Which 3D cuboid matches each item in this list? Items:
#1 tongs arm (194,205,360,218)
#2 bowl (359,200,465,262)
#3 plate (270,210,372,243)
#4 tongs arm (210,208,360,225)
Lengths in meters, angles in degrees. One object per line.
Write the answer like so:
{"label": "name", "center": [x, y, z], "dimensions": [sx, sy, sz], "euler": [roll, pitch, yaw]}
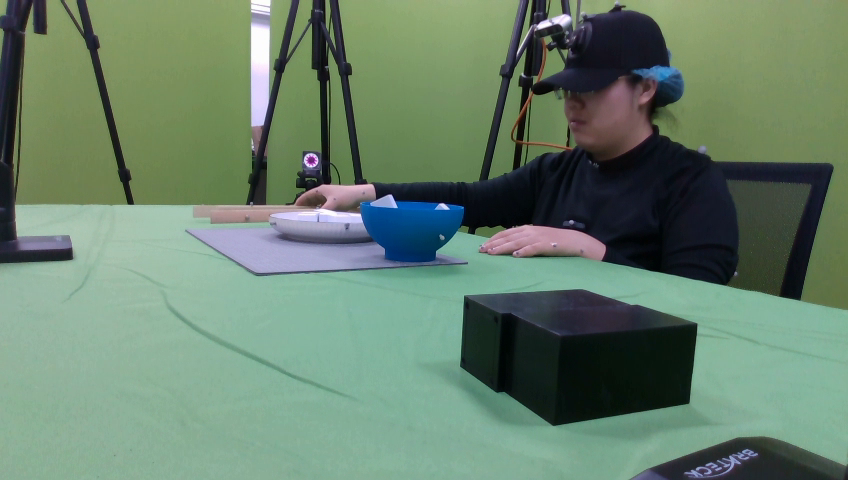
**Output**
{"label": "tongs arm", "center": [-0.288, -0.061, 1.300], "dimensions": [0.387, 0.026, 0.050], "euler": [-3, 7, -33]}
{"label": "bowl", "center": [-0.018, -0.013, 0.859], "dimensions": [0.151, 0.077, 0.151], "euler": [2, 7, 0]}
{"label": "plate", "center": [-0.161, -0.023, 1.054], "dimensions": [0.208, 0.039, 0.207], "euler": [2, 7, 0]}
{"label": "tongs arm", "center": [-0.250, -0.052, 1.248], "dimensions": [0.390, 0.028, 0.028], "euler": [-4, 5, -41]}
